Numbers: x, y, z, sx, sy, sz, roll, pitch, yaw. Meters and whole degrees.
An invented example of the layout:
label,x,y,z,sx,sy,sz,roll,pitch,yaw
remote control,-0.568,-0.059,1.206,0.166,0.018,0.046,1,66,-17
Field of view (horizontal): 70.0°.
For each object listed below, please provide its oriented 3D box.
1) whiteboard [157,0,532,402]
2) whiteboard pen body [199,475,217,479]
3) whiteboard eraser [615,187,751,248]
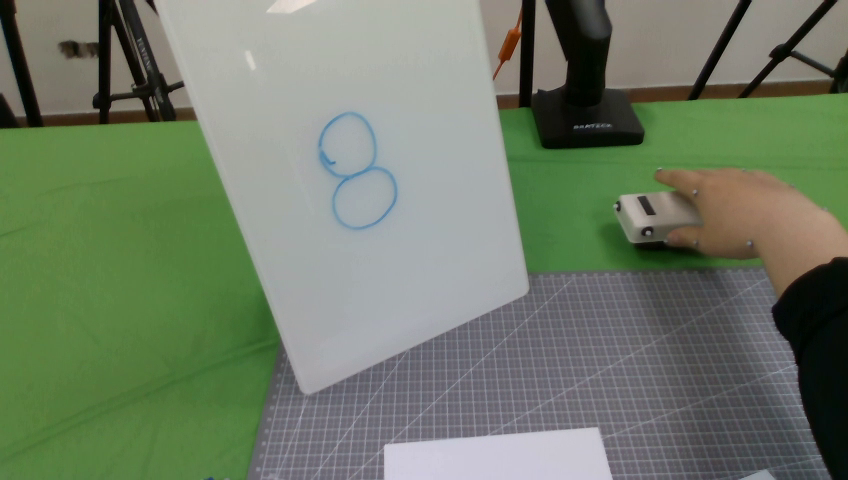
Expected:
label,x,y,z,sx,sy,sz,roll,pitch,yaw
whiteboard,-0.058,-0.067,0.503,0.217,0.307,0.142,-21,24,-18
whiteboard pen body,-0.195,0.196,0.381,0.141,0.017,0.017,-30,48,-28
whiteboard eraser,0.247,-0.021,0.584,0.113,0.042,0.055,-3,42,-1
